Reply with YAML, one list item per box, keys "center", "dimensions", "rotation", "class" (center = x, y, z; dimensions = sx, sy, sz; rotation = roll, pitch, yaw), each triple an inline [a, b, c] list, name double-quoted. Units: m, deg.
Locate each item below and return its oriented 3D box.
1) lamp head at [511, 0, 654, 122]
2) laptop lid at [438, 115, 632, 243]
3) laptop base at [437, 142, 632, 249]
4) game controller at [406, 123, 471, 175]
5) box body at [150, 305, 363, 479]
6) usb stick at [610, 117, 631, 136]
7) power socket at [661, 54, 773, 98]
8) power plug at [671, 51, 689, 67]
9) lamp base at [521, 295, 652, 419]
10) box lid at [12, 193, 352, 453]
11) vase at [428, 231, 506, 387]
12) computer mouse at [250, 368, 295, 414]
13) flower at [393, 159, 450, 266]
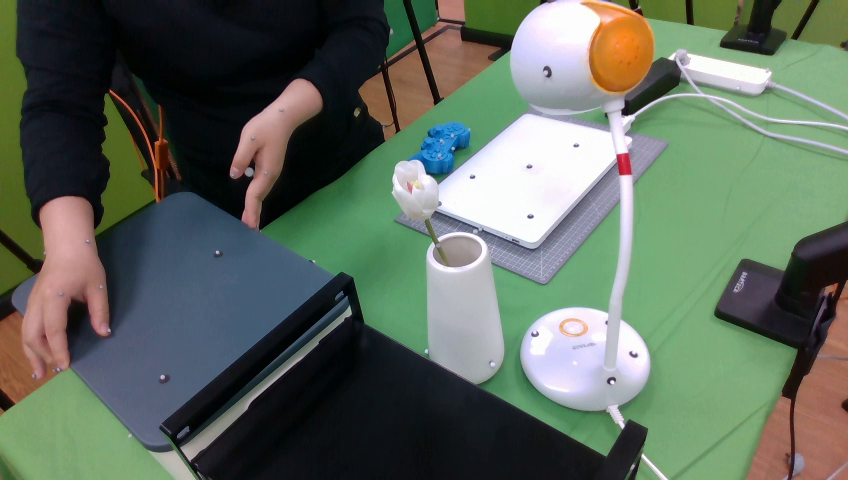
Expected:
- center: [0.155, -0.168, 0.563]
  dimensions: [0.113, 0.113, 0.122]
  rotation: [-18, 23, -12]
  class: "lamp head"
- center: [0.189, -0.126, 1.081]
  dimensions: [0.239, 0.013, 0.358]
  rotation: [23, 48, 35]
  class: "laptop lid"
- center: [0.193, -0.117, 1.088]
  dimensions: [0.233, 0.023, 0.355]
  rotation: [21, 48, 34]
  class: "laptop base"
- center: [0.028, -0.182, 1.169]
  dimensions: [0.096, 0.052, 0.155]
  rotation: [16, 45, 18]
  class: "game controller"
- center: [-0.284, 0.123, 0.765]
  dimensions: [0.361, 0.161, 0.255]
  rotation: [25, 49, 33]
  class: "box body"
- center: [0.369, -0.208, 1.147]
  dimensions: [0.021, 0.027, 0.059]
  rotation: [26, 56, 33]
  class: "usb stick"
- center: [0.619, -0.353, 1.289]
  dimensions: [0.225, 0.033, 0.072]
  rotation: [26, 51, 33]
  class: "power socket"
- center: [0.541, -0.378, 1.301]
  dimensions: [0.073, 0.053, 0.035]
  rotation: [-32, 47, -23]
  class: "power plug"
- center: [0.200, 0.095, 0.710]
  dimensions: [0.161, 0.181, 0.177]
  rotation: [-16, 43, -10]
  class: "lamp base"
- center: [-0.291, 0.067, 0.716]
  dimensions: [0.368, 0.015, 0.264]
  rotation: [26, 50, 32]
  class: "box lid"
- center: [0.050, 0.087, 0.728]
  dimensions: [0.098, 0.201, 0.097]
  rotation: [-3, 40, 3]
  class: "vase"
- center: [-0.197, 0.182, 0.771]
  dimensions: [0.063, 0.041, 0.116]
  rotation: [-12, 47, -11]
  class: "computer mouse"
- center: [0.028, 0.035, 0.665]
  dimensions: [0.043, 0.364, 0.038]
  rotation: [34, 72, 29]
  class: "flower"
